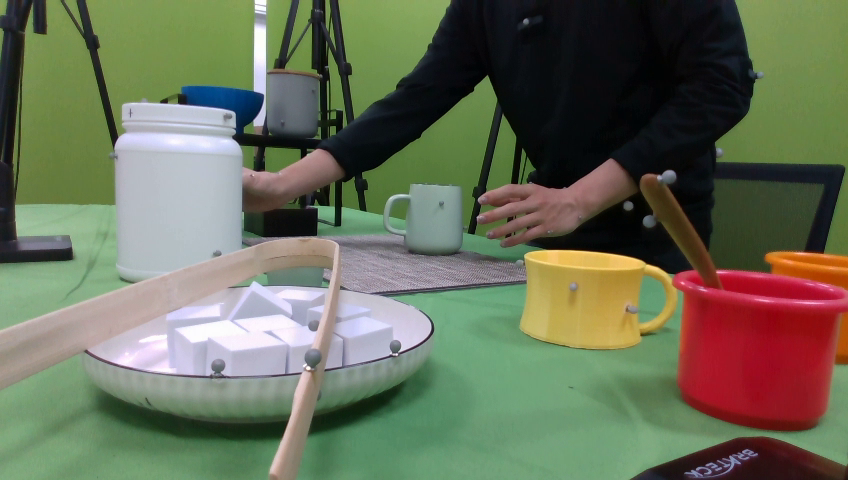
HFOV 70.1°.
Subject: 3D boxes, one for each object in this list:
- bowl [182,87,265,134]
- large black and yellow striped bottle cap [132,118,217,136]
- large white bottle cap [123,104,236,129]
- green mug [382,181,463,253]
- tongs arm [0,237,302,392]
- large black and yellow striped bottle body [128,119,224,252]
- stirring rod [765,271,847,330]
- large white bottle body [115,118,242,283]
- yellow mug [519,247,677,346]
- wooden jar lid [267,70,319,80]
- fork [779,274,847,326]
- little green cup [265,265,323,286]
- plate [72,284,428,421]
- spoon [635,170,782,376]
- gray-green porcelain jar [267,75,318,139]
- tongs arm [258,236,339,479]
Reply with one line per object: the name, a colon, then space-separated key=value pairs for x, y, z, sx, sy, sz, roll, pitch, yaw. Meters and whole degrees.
bowl: x=-0.383 y=-0.244 z=1.158 sx=0.151 sy=0.077 sz=0.151 roll=2 pitch=7 yaw=0
large black and yellow striped bottle cap: x=-0.359 y=-0.164 z=0.875 sx=0.115 sy=0.019 sz=0.115 roll=2 pitch=6 yaw=0
large white bottle cap: x=-0.266 y=-0.135 z=0.663 sx=0.115 sy=0.018 sz=0.115 roll=3 pitch=7 yaw=0
green mug: x=-0.001 y=-0.036 z=0.922 sx=0.126 sy=0.105 sz=0.092 roll=0 pitch=8 yaw=-15
tongs arm: x=-0.157 y=0.038 z=0.347 sx=0.028 sy=0.028 sz=0.388 roll=-3 pitch=8 yaw=11
large black and yellow striped bottle body: x=-0.361 y=-0.081 z=0.887 sx=0.131 sy=0.184 sz=0.130 roll=2 pitch=8 yaw=0
stirring rod: x=0.352 y=0.020 z=0.481 sx=0.176 sy=0.006 sz=0.014 roll=-40 pitch=-7 yaw=17
large white bottle body: x=-0.270 y=-0.051 z=0.673 sx=0.131 sy=0.184 sz=0.130 roll=2 pitch=8 yaw=0
yellow mug: x=0.148 y=0.045 z=0.513 sx=0.131 sy=0.064 sz=0.100 roll=3 pitch=7 yaw=0
wooden jar lid: x=-0.275 y=-0.339 z=1.271 sx=0.108 sy=0.020 sz=0.108 roll=5 pitch=6 yaw=0
fork: x=0.332 y=0.018 z=0.443 sx=0.028 sy=0.018 sz=0.207 roll=-2 pitch=-35 yaw=-16
little green cup: x=-0.134 y=0.033 z=0.628 sx=0.061 sy=0.038 sz=0.061 roll=3 pitch=7 yaw=0
plate: x=-0.102 y=0.067 z=0.381 sx=0.208 sy=0.039 sz=0.207 roll=3 pitch=7 yaw=0
spoon: x=0.161 y=0.026 z=0.346 sx=0.041 sy=0.194 sz=0.021 roll=10 pitch=56 yaw=53
gray-green porcelain jar: x=-0.277 y=-0.279 z=1.280 sx=0.106 sy=0.126 sz=0.106 roll=1 pitch=8 yaw=0
tongs arm: x=-0.074 y=0.040 z=0.345 sx=0.051 sy=0.026 sz=0.384 roll=-1 pitch=9 yaw=-3
